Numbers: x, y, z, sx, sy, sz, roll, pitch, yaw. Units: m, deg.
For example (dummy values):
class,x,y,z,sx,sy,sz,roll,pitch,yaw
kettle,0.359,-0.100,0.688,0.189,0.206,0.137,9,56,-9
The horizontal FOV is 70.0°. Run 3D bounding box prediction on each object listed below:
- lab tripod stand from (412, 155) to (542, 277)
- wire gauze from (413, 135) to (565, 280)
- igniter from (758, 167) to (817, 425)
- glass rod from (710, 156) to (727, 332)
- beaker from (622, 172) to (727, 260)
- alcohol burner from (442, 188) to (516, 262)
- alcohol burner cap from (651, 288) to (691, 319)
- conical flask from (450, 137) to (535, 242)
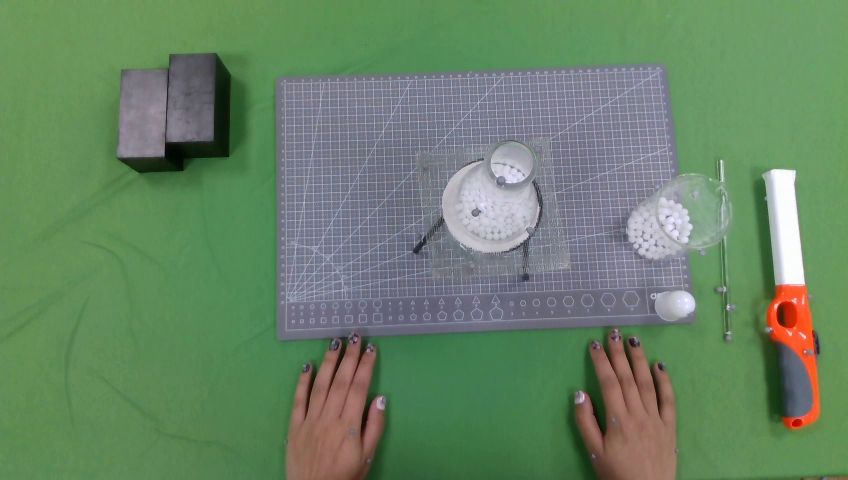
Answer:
class,x,y,z,sx,sy,sz,roll,pitch,yaw
lab tripod stand,0.057,-0.019,0.603,0.148,0.132,0.148,0,82,0
wire gauze,0.058,-0.029,0.538,0.125,0.011,0.121,-6,83,-4
igniter,0.389,0.057,0.651,0.057,0.025,0.275,2,80,-10
glass rod,0.327,0.002,0.671,0.008,0.008,0.199,2,79,-1
beaker,0.254,-0.022,0.624,0.084,0.100,0.074,-39,82,-7
alcohol burner,0.057,-0.020,0.613,0.078,0.119,0.077,0,78,1
alcohol burner cap,0.263,0.065,0.638,0.034,0.048,0.033,0,80,0
conical flask,0.059,-0.044,0.481,0.075,0.122,0.075,0,80,0
